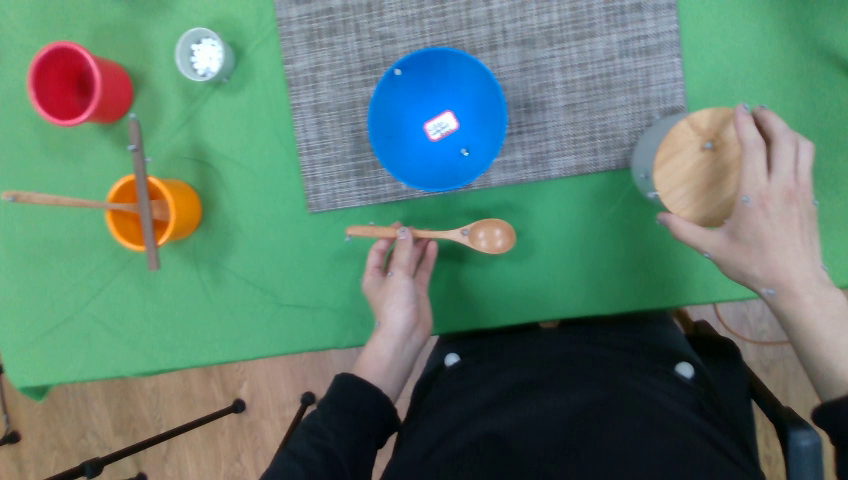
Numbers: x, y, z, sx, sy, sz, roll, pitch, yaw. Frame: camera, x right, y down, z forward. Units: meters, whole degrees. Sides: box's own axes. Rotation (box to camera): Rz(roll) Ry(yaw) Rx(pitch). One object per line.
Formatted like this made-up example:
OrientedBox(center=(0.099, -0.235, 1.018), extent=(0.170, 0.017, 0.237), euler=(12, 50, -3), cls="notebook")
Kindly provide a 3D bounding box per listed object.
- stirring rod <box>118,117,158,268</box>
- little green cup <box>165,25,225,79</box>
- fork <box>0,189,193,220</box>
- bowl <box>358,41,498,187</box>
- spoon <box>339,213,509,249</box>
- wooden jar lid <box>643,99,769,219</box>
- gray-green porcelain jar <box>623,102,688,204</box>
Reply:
OrientedBox(center=(-0.331, -0.054, 0.701), extent=(0.014, 0.006, 0.176), euler=(-6, 97, 12), cls="stirring rod")
OrientedBox(center=(-0.272, -0.222, 0.726), extent=(0.061, 0.038, 0.061), euler=(1, 99, 10), cls="little green cup")
OrientedBox(center=(-0.382, -0.043, 0.714), extent=(0.209, 0.018, 0.028), euler=(4, 104, -35), cls="fork")
OrientedBox(center=(0.009, -0.136, 0.671), extent=(0.151, 0.077, 0.151), euler=(1, 99, 9), cls="bowl")
OrientedBox(center=(0.000, -0.013, 0.691), extent=(0.194, 0.021, 0.042), euler=(2, 103, -4), cls="spoon")
OrientedBox(center=(0.255, -0.074, 0.554), extent=(0.108, 0.020, 0.108), euler=(1, 100, 7), cls="wooden jar lid")
OrientedBox(center=(0.263, -0.086, 0.615), extent=(0.106, 0.126, 0.106), euler=(1, 101, 7), cls="gray-green porcelain jar")
